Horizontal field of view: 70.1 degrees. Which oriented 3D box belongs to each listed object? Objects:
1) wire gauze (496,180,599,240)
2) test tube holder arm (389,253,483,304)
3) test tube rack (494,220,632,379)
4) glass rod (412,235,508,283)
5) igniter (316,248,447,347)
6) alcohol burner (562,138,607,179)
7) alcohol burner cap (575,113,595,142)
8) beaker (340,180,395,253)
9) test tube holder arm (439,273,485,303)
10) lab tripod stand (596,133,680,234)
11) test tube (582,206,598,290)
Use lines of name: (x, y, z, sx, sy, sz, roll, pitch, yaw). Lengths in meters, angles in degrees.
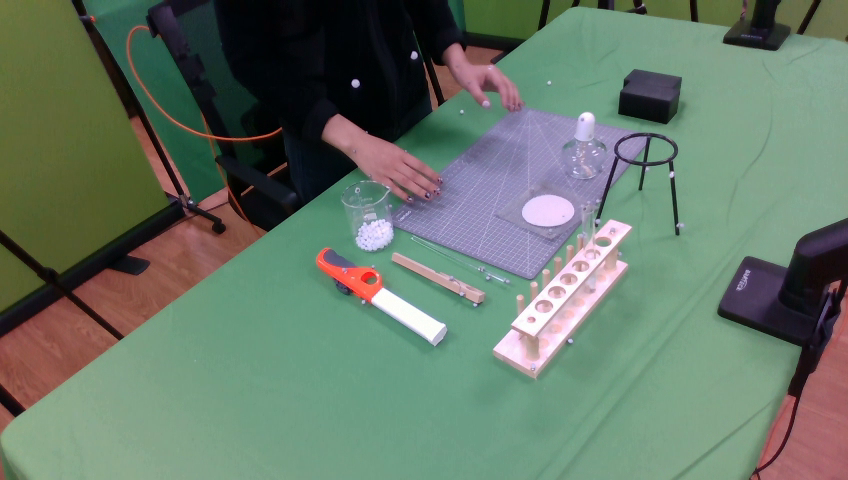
wire gauze: (0.206, -0.050, 1.012, 0.125, 0.011, 0.120, -34, 45, -26)
test tube holder arm: (0.015, 0.056, 0.915, 0.177, 0.015, 0.013, 24, 14, 32)
test tube rack: (0.191, 0.068, 0.818, 0.066, 0.085, 0.243, 25, 51, 35)
glass rod: (0.051, 0.028, 0.951, 0.198, 0.008, 0.008, 25, 51, 37)
igniter: (-0.074, 0.078, 0.901, 0.274, 0.025, 0.057, 29, 64, 36)
alcohol burner: (0.280, -0.167, 1.052, 0.078, 0.119, 0.077, -5, 39, 4)
alcohol burner cap: (0.276, -0.194, 1.028, 0.034, 0.048, 0.033, -2, 44, 3)
beaker: (-0.086, -0.037, 0.985, 0.084, 0.101, 0.073, -18, 41, -11)
test tube holder arm: (0.053, 0.071, 0.895, 0.087, 0.015, 0.010, 24, 14, 34)
lab tripod stand: (0.338, -0.091, 0.940, 0.148, 0.132, 0.147, -7, 39, 6)
test tube: (0.220, 0.014, 0.798, 0.017, 0.151, 0.017, -9, 43, 9)
